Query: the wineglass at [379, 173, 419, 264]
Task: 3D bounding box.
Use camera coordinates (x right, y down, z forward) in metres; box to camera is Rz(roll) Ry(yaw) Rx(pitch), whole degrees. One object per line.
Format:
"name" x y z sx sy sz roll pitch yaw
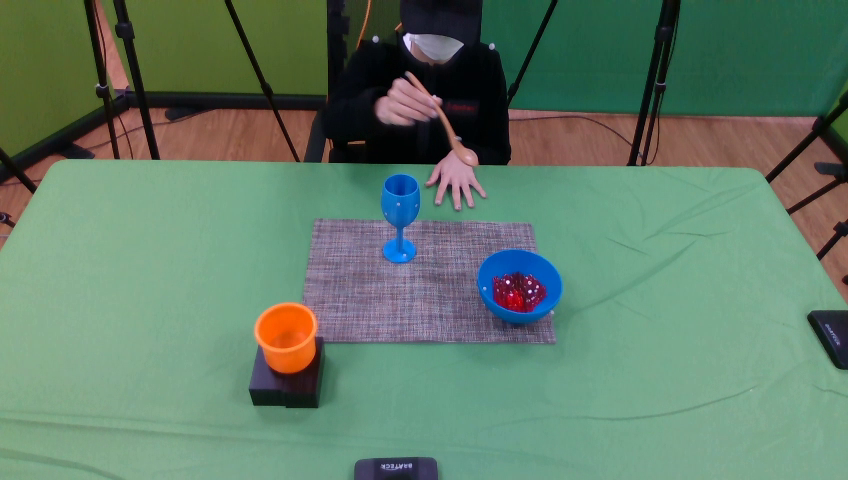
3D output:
"wineglass" -0.046 -0.036 1.120 0.074 0.173 0.073 2 46 -2

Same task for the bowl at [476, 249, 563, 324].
"bowl" 0.163 0.096 1.074 0.151 0.077 0.150 2 46 -2

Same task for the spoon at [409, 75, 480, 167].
"spoon" 0.035 -0.201 1.030 0.021 0.194 0.041 -25 19 29
